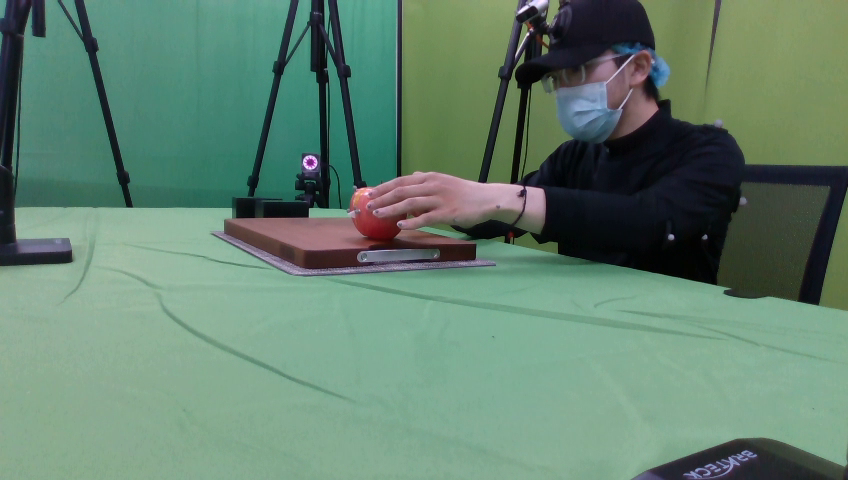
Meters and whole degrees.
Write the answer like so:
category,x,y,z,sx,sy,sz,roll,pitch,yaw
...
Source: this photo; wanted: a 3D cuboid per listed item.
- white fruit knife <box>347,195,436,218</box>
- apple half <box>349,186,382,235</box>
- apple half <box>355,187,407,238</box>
category,x,y,z,sx,sy,sz,roll,pitch,yaw
white fruit knife,-0.045,-0.051,0.930,0.016,0.027,0.208,5,11,36
apple half,-0.089,-0.045,0.900,0.032,0.081,0.082,10,10,37
apple half,-0.055,-0.038,0.876,0.053,0.074,0.081,17,11,34
